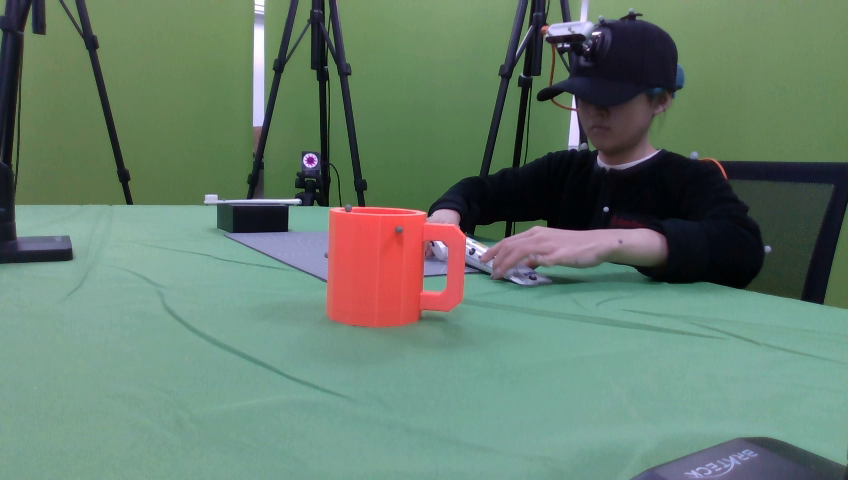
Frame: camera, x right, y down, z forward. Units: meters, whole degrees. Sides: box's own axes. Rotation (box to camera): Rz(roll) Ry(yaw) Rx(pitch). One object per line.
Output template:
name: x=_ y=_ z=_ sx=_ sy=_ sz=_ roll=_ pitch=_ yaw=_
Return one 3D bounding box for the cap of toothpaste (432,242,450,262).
cap of toothpaste: x=0.024 y=0.014 z=0.848 sx=0.011 sy=0.037 sz=0.037 roll=-29 pitch=21 yaw=-21

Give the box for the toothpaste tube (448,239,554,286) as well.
toothpaste tube: x=0.089 y=0.030 z=0.787 sx=0.055 sy=0.034 sz=0.164 roll=-9 pitch=21 yaw=-37

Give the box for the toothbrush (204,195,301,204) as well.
toothbrush: x=-0.314 y=-0.074 z=1.120 sx=0.183 sy=0.016 sz=0.014 roll=-2 pitch=4 yaw=-36

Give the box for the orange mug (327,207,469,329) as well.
orange mug: x=-0.024 y=0.021 z=0.535 sx=0.126 sy=0.100 sz=0.083 roll=-1 pitch=6 yaw=8
